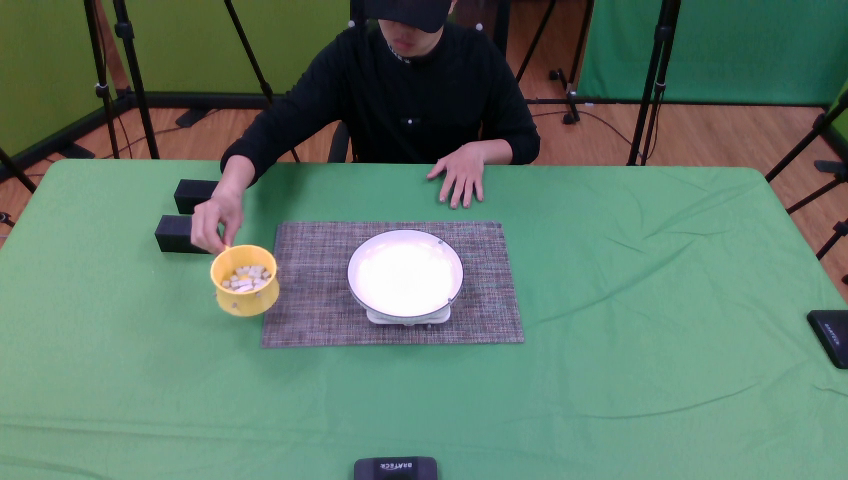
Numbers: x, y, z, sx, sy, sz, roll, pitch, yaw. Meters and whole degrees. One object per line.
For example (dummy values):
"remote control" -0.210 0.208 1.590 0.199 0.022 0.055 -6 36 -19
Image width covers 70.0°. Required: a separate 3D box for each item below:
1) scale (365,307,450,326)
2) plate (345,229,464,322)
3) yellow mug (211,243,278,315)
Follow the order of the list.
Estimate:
"scale" -0.032 0.071 1.113 0.149 0.032 0.199 0 46 -4
"plate" -0.034 0.065 1.073 0.209 0.038 0.208 2 46 -2
"yellow mug" -0.300 0.054 0.992 0.100 0.064 0.130 -31 60 -30
